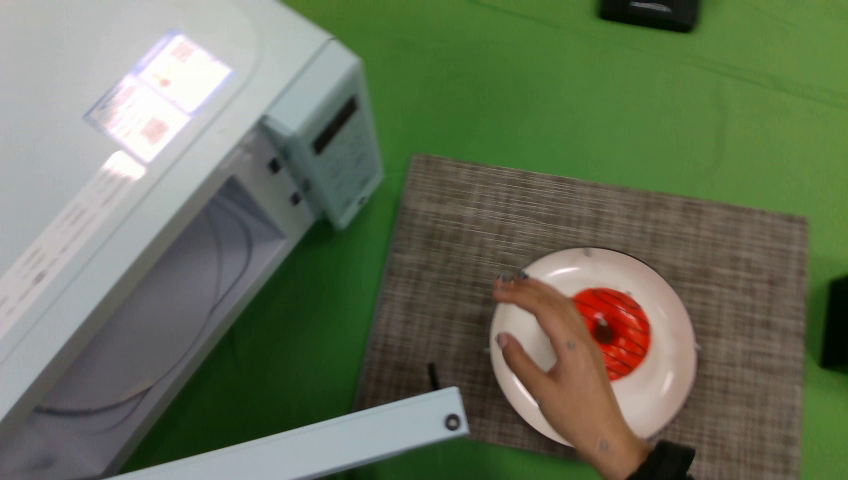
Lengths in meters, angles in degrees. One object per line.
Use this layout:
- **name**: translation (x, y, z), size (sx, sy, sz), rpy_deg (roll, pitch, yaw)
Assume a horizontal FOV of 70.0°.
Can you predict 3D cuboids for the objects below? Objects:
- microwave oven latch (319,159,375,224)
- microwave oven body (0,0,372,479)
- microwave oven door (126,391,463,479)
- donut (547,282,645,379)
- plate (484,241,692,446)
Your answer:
- **microwave oven latch**: translation (-0.084, -0.058, 0.659), size (0.030, 0.029, 0.079), rpy_deg (34, 79, 9)
- **microwave oven body**: translation (-0.310, -0.024, 0.552), size (0.325, 0.261, 0.441), rpy_deg (33, 78, 9)
- **microwave oven door**: translation (-0.145, 0.181, 0.489), size (0.356, 0.245, 0.039), rpy_deg (-15, 74, -3)
- **donut**: translation (0.175, 0.092, 0.617), size (0.099, 0.048, 0.098), rpy_deg (0, 76, -1)
- **plate**: translation (0.165, 0.105, 0.625), size (0.209, 0.038, 0.208), rpy_deg (0, 75, 1)
